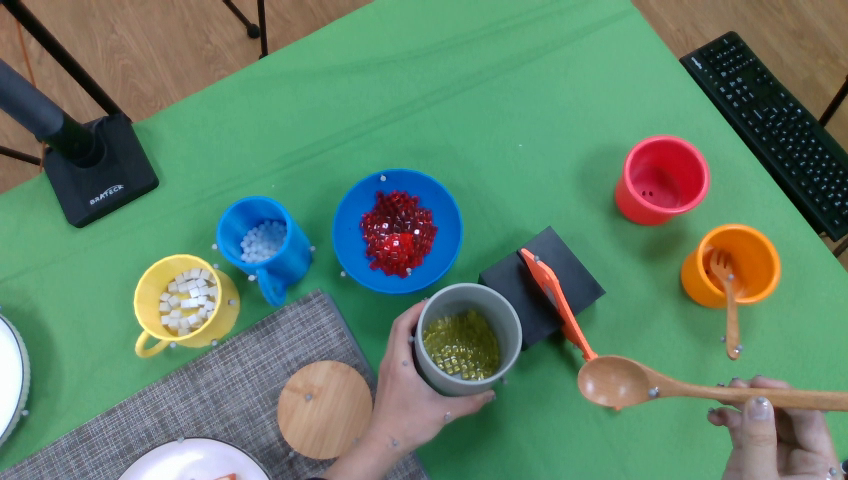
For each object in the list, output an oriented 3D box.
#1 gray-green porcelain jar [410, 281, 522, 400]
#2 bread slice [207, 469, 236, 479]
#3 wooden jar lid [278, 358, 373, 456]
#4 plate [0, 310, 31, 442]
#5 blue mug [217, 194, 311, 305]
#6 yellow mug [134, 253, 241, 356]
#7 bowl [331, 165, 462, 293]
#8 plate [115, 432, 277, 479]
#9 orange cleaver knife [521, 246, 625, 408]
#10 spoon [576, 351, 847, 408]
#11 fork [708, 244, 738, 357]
[{"bbox_3d":[0.040,0.113,0.653,0.106,0.127,0.105,2,66,-5],"label":"gray-green porcelain jar"},{"bbox_3d":[-0.259,0.322,0.657,0.132,0.019,0.104,-17,74,-7],"label":"bread slice"},{"bbox_3d":[-0.112,0.191,0.694,0.108,0.021,0.108,0,75,2],"label":"wooden jar lid"},{"bbox_3d":[-0.558,0.170,0.707,0.207,0.039,0.206,0,74,1],"label":"plate"},{"bbox_3d":[-0.180,0.018,0.704,0.082,0.106,0.116,-11,74,-1],"label":"blue mug"},{"bbox_3d":[-0.285,0.083,0.709,0.099,0.064,0.130,36,80,11],"label":"yellow mug"},{"bbox_3d":[-0.029,-0.004,0.720,0.151,0.077,0.150,0,75,2],"label":"bowl"},{"bbox_3d":[-0.246,0.316,0.654,0.209,0.038,0.208,0,74,2],"label":"plate"},{"bbox_3d":[0.167,0.098,0.684,0.012,0.076,0.212,-33,106,-7],"label":"orange cleaver knife"},{"bbox_3d":[0.205,0.105,0.431,0.192,0.022,0.041,-2,93,36],"label":"spoon"},{"bbox_3d":[0.326,0.059,0.656,0.028,0.019,0.206,30,33,4],"label":"fork"}]
